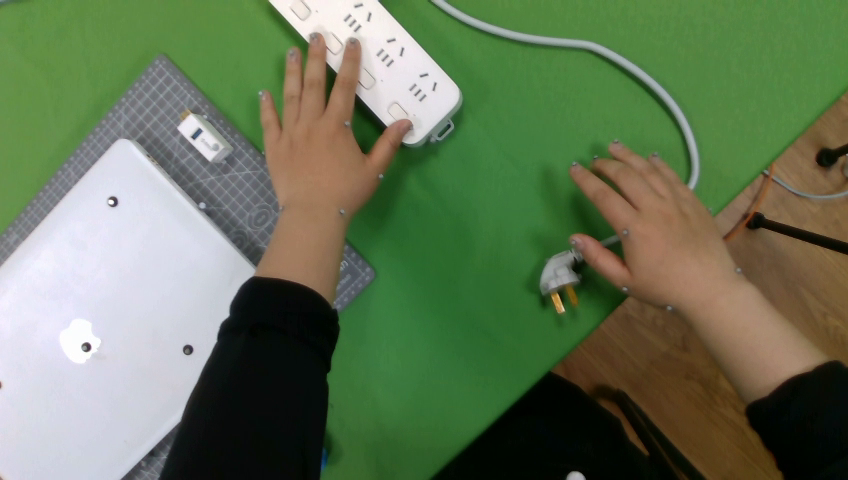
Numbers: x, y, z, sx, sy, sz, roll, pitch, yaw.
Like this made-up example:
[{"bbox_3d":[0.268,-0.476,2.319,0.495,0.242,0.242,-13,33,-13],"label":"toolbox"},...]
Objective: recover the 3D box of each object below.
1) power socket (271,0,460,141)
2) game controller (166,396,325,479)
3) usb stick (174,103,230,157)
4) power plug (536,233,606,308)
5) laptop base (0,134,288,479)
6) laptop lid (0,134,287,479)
[{"bbox_3d":[-0.060,-0.184,0.546,0.072,0.032,0.226,-43,90,10],"label":"power socket"},{"bbox_3d":[-0.181,0.226,0.592,0.155,0.051,0.097,-44,85,8],"label":"game controller"},{"bbox_3d":[-0.214,-0.106,0.570,0.021,0.027,0.059,-44,87,10],"label":"usb stick"},{"bbox_3d":[0.135,0.027,0.542,0.072,0.035,0.052,-26,75,19],"label":"power plug"},{"bbox_3d":[-0.331,0.097,0.608,0.354,0.023,0.236,-44,93,8],"label":"laptop base"},{"bbox_3d":[-0.331,0.099,0.597,0.357,0.013,0.242,-42,92,8],"label":"laptop lid"}]
